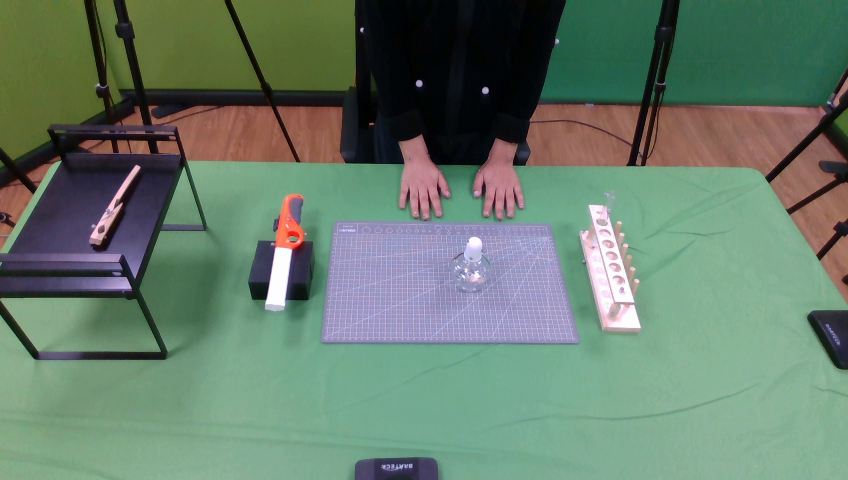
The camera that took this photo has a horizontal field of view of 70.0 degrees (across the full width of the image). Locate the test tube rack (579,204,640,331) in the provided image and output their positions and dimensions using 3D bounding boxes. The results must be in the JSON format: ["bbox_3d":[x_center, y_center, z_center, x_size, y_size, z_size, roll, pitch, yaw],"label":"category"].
[{"bbox_3d":[0.353,0.047,1.137,0.067,0.085,0.241,2,46,-2],"label":"test tube rack"}]

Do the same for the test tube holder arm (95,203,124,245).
[{"bbox_3d":[-0.488,-0.027,0.940,0.010,0.015,0.087,28,38,-23],"label":"test tube holder arm"}]

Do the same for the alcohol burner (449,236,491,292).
[{"bbox_3d":[0.086,0.038,1.101,0.078,0.119,0.077,3,45,-2],"label":"alcohol burner"}]

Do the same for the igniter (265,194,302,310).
[{"bbox_3d":[-0.253,0.011,1.099,0.057,0.025,0.274,9,46,-12],"label":"igniter"}]

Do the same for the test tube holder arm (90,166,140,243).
[{"bbox_3d":[-0.492,-0.061,0.970,0.013,0.015,0.177,28,39,-24],"label":"test tube holder arm"}]

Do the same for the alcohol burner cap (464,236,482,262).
[{"bbox_3d":[0.088,0.014,1.074,0.034,0.048,0.033,1,53,-1],"label":"alcohol burner cap"}]

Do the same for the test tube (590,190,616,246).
[{"bbox_3d":[0.338,-0.038,1.149,0.017,0.151,0.017,0,51,0],"label":"test tube"}]
